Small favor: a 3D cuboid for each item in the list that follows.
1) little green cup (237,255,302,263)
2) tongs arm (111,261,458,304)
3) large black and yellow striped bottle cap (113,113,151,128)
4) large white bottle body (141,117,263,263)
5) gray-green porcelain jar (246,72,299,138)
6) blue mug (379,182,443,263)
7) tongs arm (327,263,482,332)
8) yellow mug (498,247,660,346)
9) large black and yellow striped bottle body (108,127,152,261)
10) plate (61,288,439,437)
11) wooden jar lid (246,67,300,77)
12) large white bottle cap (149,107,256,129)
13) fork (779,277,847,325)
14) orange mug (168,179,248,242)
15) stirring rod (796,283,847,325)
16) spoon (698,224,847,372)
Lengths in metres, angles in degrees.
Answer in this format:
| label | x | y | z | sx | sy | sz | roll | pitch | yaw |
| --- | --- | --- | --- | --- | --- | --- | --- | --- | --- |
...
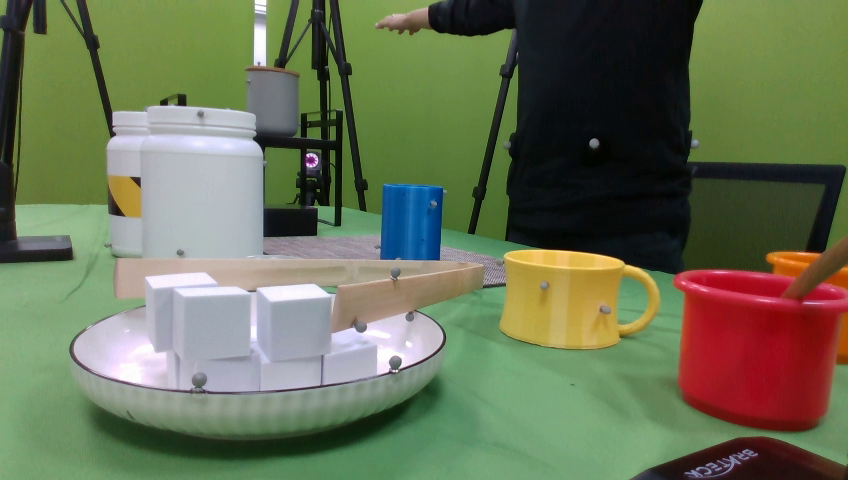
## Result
| label | x | y | z | sx | sy | sz | roll | pitch | yaw |
| --- | --- | --- | --- | --- | --- | --- | --- | --- | --- |
| little green cup | -0.150 | 0.038 | 0.590 | 0.061 | 0.038 | 0.061 | 3 | 6 | 0 |
| tongs arm | -0.080 | 0.032 | 0.527 | 0.028 | 0.027 | 0.389 | -3 | -3 | 33 |
| large black and yellow striped bottle cap | -0.348 | -0.154 | 0.800 | 0.115 | 0.019 | 0.115 | 2 | 6 | 0 |
| large white bottle body | -0.254 | -0.054 | 0.697 | 0.131 | 0.184 | 0.130 | 2 | 7 | 0 |
| gray-green porcelain jar | -0.314 | -0.277 | 1.256 | 0.106 | 0.126 | 0.106 | 3 | 8 | 0 |
| blue mug | -0.020 | -0.026 | 0.833 | 0.082 | 0.106 | 0.116 | 1 | 7 | -7 |
| tongs arm | -0.003 | 0.036 | 0.493 | 0.050 | 0.026 | 0.386 | 1 | 0 | 19 |
| yellow mug | 0.130 | 0.045 | 0.508 | 0.131 | 0.064 | 0.100 | 4 | 7 | 6 |
| large black and yellow striped bottle body | -0.350 | -0.071 | 0.812 | 0.131 | 0.184 | 0.130 | 2 | 7 | 0 |
| plate | -0.095 | 0.069 | 0.362 | 0.208 | 0.039 | 0.207 | 3 | 7 | 0 |
| wooden jar lid | -0.312 | -0.339 | 1.247 | 0.108 | 0.020 | 0.108 | 4 | 8 | 0 |
| large white bottle cap | -0.250 | -0.137 | 0.686 | 0.115 | 0.018 | 0.115 | 2 | 8 | 0 |
| fork | 0.336 | 0.018 | 0.443 | 0.028 | 0.018 | 0.207 | -1 | -36 | -20 |
| orange mug | -0.351 | -0.050 | 0.986 | 0.126 | 0.101 | 0.083 | -3 | 8 | -9 |
| stirring rod | 0.347 | 0.019 | 0.460 | 0.014 | 0.176 | 0.006 | -16 | 59 | -26 |
| spoon | 0.195 | 0.032 | 0.323 | 0.041 | 0.021 | 0.194 | 1 | -36 | 2 |
